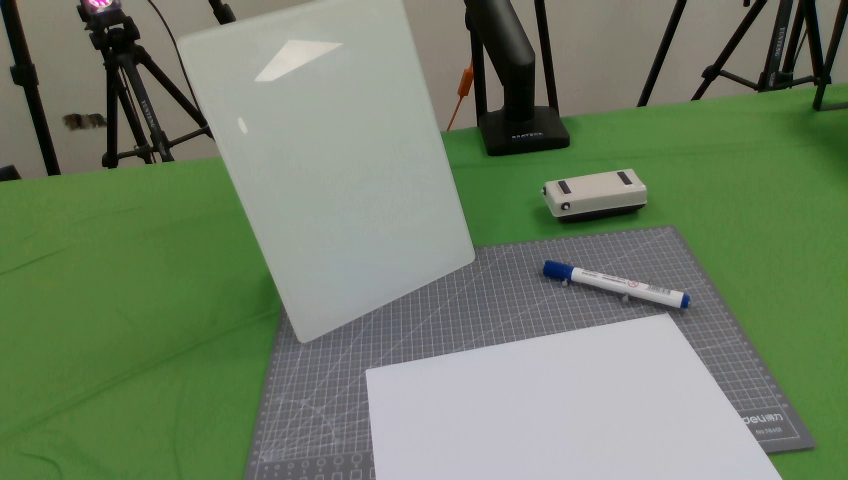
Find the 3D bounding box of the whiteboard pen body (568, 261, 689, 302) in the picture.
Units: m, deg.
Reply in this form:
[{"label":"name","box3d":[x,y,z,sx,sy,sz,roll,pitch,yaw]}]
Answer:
[{"label":"whiteboard pen body","box3d":[0.194,0.039,0.614,0.140,0.017,0.017,14,42,27]}]

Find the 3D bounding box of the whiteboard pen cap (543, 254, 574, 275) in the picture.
[{"label":"whiteboard pen cap","box3d":[0.144,0.027,0.641,0.033,0.018,0.018,16,43,25]}]

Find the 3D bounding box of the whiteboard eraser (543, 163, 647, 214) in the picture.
[{"label":"whiteboard eraser","box3d":[0.205,-0.060,0.731,0.113,0.042,0.055,-8,39,-2]}]

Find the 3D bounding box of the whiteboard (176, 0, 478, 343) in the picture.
[{"label":"whiteboard","box3d":[-0.103,-0.088,0.651,0.217,0.307,0.142,-25,20,-21]}]
